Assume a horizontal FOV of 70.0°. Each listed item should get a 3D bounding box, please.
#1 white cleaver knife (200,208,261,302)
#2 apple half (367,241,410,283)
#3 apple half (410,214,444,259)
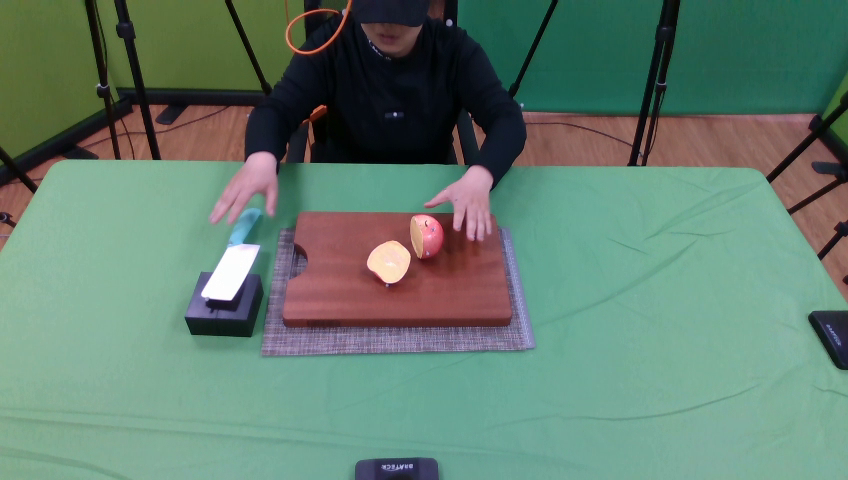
[{"bbox_3d":[-0.338,0.024,1.116,0.066,0.021,0.285,7,35,-3],"label":"white cleaver knife"},{"bbox_3d":[-0.059,0.043,1.100,0.081,0.033,0.081,-3,67,7],"label":"apple half"},{"bbox_3d":[0.009,-0.007,1.131,0.053,0.075,0.080,-9,43,-17],"label":"apple half"}]
